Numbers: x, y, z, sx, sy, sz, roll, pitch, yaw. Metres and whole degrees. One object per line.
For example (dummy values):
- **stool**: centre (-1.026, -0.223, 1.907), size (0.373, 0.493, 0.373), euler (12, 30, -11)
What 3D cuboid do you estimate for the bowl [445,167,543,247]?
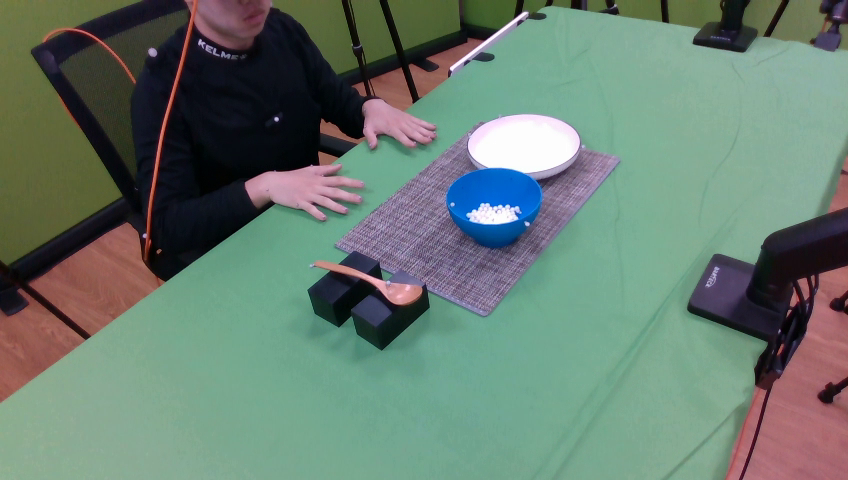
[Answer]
- **bowl**: centre (0.111, -0.041, 0.952), size (0.151, 0.077, 0.150), euler (-4, 41, 4)

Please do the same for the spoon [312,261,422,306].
- **spoon**: centre (-0.084, 0.055, 0.842), size (0.192, 0.022, 0.042), euler (19, 46, 29)

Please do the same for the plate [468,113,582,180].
- **plate**: centre (0.186, -0.169, 1.122), size (0.207, 0.039, 0.206), euler (-4, 40, 4)
